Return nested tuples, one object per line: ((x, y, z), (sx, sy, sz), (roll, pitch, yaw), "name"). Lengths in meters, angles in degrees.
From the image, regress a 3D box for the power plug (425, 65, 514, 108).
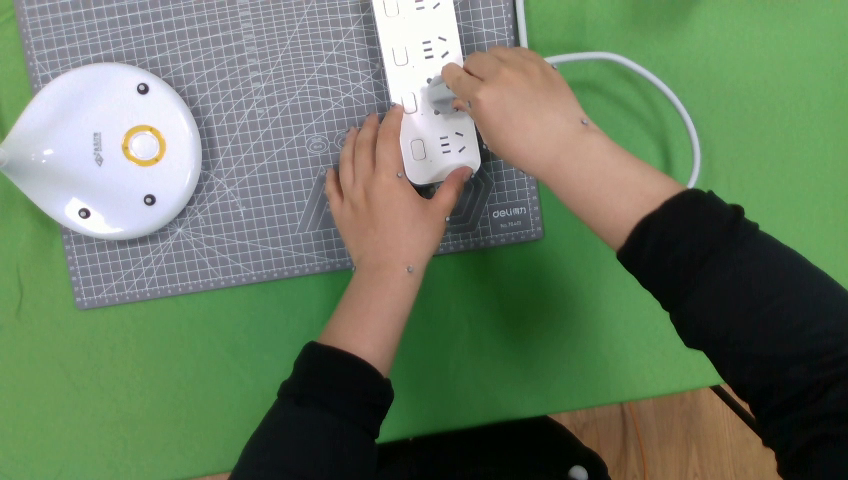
((0.037, -0.132, 0.528), (0.073, 0.052, 0.035), (3, 93, -6), "power plug")

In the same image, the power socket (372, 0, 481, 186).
((0.000, -0.162, 0.548), (0.072, 0.032, 0.227), (-11, 96, -1), "power socket")

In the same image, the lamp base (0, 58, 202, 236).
((-0.293, -0.074, 0.474), (0.179, 0.180, 0.161), (-14, 95, 3), "lamp base")
